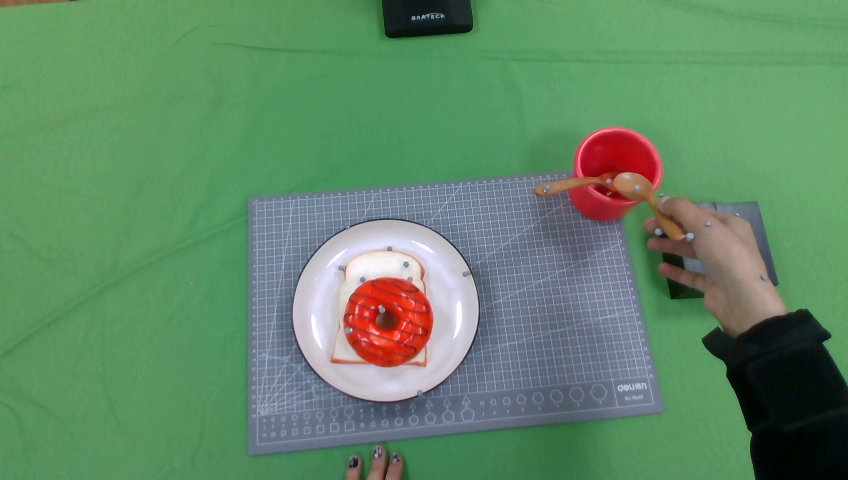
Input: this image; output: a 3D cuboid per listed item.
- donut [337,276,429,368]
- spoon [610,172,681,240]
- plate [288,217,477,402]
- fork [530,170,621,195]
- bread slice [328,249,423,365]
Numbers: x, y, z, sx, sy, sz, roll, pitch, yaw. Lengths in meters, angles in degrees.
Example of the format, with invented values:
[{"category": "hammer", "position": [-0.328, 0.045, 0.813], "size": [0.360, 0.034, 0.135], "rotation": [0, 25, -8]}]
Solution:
[{"category": "donut", "position": [-0.043, 0.087, 0.646], "size": [0.099, 0.048, 0.098], "rotation": [1, 75, -4]}, {"category": "spoon", "position": [0.218, -0.038, 0.596], "size": [0.041, 0.193, 0.022], "rotation": [5, 108, 5]}, {"category": "plate", "position": [-0.045, 0.077, 0.678], "size": [0.209, 0.038, 0.207], "rotation": [1, 71, -1]}, {"category": "fork", "position": [0.177, -0.064, 0.672], "size": [0.208, 0.018, 0.028], "rotation": [-10, 64, -49]}, {"category": "bread slice", "position": [-0.052, 0.073, 0.681], "size": [0.105, 0.019, 0.130], "rotation": [1, 72, -2]}]
